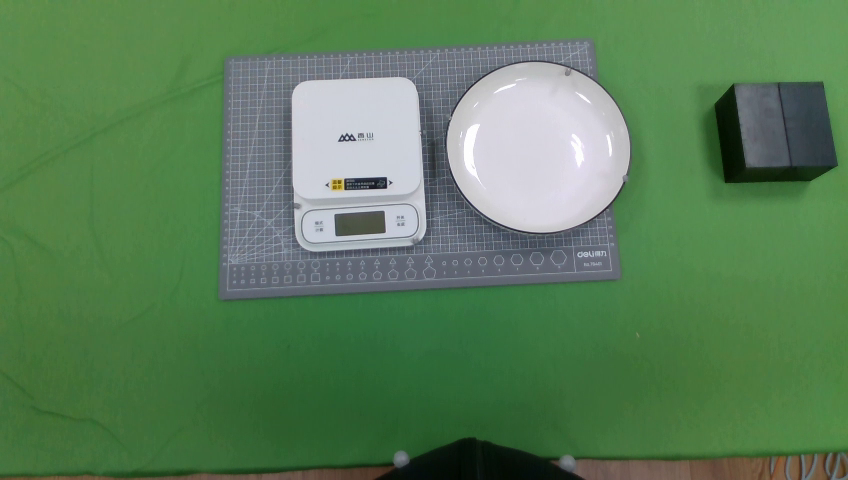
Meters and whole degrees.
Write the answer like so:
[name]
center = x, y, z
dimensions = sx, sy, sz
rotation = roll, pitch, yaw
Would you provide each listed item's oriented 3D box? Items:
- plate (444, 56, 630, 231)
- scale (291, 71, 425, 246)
[plate]
center = 0.126, -0.107, 0.691
dimensions = 0.209, 0.038, 0.208
rotation = 0, 77, 0
[scale]
center = -0.077, -0.096, 0.694
dimensions = 0.149, 0.032, 0.200
rotation = -3, 78, 0
